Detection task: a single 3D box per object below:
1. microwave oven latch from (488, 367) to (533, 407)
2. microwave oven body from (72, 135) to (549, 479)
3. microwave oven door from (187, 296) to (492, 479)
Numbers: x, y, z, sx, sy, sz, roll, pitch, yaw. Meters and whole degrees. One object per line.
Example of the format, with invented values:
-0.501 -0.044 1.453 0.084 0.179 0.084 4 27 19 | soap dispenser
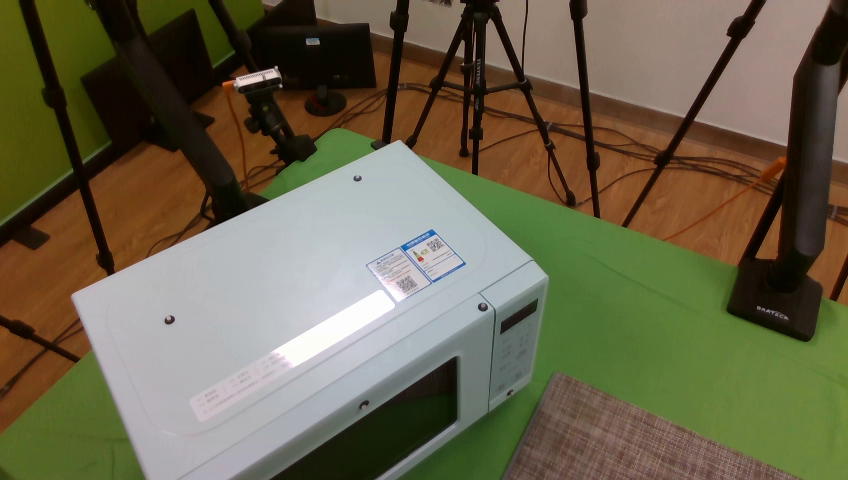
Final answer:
0.111 0.189 0.815 0.079 0.030 0.030 -30 54 -21 | microwave oven latch
-0.124 0.119 0.760 0.442 0.262 0.322 -30 54 -21 | microwave oven body
-0.074 0.221 0.660 0.356 0.246 0.039 -30 53 -21 | microwave oven door
